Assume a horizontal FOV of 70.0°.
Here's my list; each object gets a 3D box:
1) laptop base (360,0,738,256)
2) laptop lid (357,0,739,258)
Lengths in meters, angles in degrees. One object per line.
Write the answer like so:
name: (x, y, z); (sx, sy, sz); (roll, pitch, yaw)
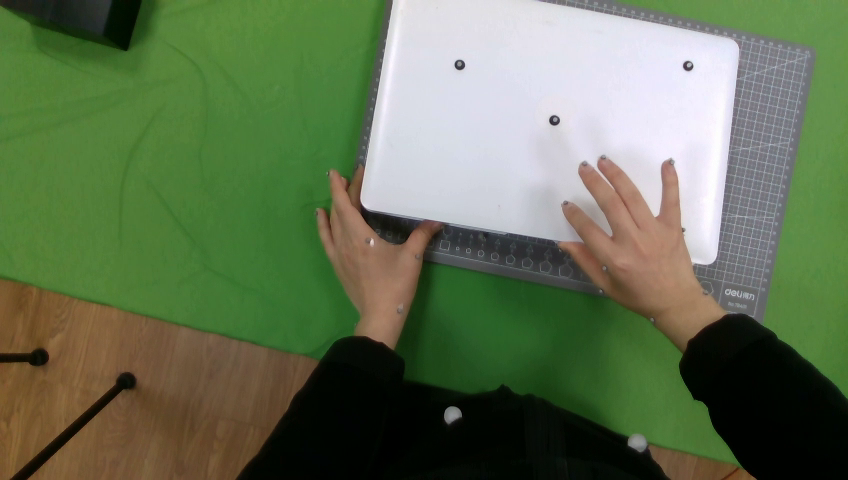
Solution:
laptop base: (0.126, -0.125, 0.616); (0.355, 0.023, 0.235); (9, 95, -3)
laptop lid: (0.126, -0.124, 0.591); (0.357, 0.013, 0.241); (11, 85, -2)
